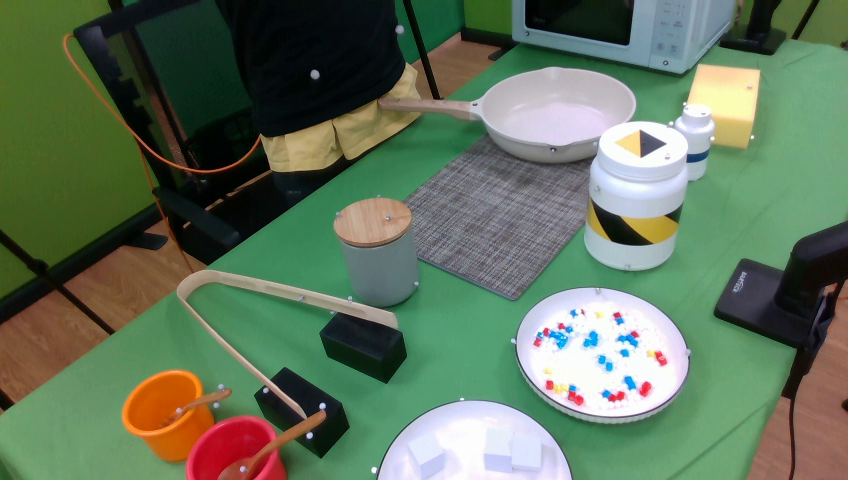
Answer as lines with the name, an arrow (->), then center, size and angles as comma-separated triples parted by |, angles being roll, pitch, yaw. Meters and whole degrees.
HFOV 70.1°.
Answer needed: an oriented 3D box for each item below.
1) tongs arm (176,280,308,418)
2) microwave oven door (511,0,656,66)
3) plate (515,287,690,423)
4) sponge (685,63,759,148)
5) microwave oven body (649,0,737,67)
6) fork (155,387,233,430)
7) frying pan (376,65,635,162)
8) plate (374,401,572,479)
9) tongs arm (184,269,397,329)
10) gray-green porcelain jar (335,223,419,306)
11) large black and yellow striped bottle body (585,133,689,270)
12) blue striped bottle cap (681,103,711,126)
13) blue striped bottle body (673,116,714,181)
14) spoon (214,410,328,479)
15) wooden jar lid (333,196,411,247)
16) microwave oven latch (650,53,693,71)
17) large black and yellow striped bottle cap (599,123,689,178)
tongs arm -> -0.254, 0.133, 0.801 | 0.028, 0.028, 0.384 | -41, 40, -23
microwave oven door -> 0.350, -0.539, 1.349 | 0.353, 0.245, 0.039 | 24, 50, 31
plate -> 0.220, 0.144, 0.760 | 0.209, 0.038, 0.208 | -4, 40, 4
sponge -> 0.569, -0.263, 1.164 | 0.117, 0.061, 0.207 | 12, 45, 22
microwave oven body -> 0.475, -0.602, 1.411 | 0.438, 0.261, 0.327 | 23, 50, 32
fork -> -0.264, 0.191, 0.687 | 0.206, 0.018, 0.028 | -33, 7, 44
frying pan -> 0.150, -0.254, 1.176 | 0.488, 0.103, 0.306 | 6, 41, 3
plate -> 0.051, 0.268, 0.639 | 0.207, 0.039, 0.206 | -3, 40, 3
tongs arm -> -0.202, 0.085, 0.848 | 0.382, 0.027, 0.051 | 11, 45, 35
gray-green porcelain jar -> -0.064, 0.024, 0.872 | 0.106, 0.127, 0.105 | -4, 41, 4
large black and yellow striped bottle body -> 0.305, -0.061, 0.874 | 0.131, 0.185, 0.130 | -4, 41, 4
blue striped bottle cap -> 0.446, -0.205, 0.990 | 0.044, 0.021, 0.044 | -5, 43, 5
blue striped bottle body -> 0.451, -0.166, 1.023 | 0.063, 0.121, 0.063 | -4, 41, 4
spoon -> -0.166, 0.224, 0.639 | 0.193, 0.022, 0.041 | -40, 33, 29
wooden jar lid -> -0.071, -0.023, 0.830 | 0.108, 0.021, 0.108 | -4, 36, 3
microwave oven latch -> 0.531, -0.386, 1.301 | 0.078, 0.029, 0.030 | 26, 51, 33
large black and yellow striped bottle cap -> 0.297, -0.123, 0.818 | 0.115, 0.019, 0.114 | -5, 40, 4
